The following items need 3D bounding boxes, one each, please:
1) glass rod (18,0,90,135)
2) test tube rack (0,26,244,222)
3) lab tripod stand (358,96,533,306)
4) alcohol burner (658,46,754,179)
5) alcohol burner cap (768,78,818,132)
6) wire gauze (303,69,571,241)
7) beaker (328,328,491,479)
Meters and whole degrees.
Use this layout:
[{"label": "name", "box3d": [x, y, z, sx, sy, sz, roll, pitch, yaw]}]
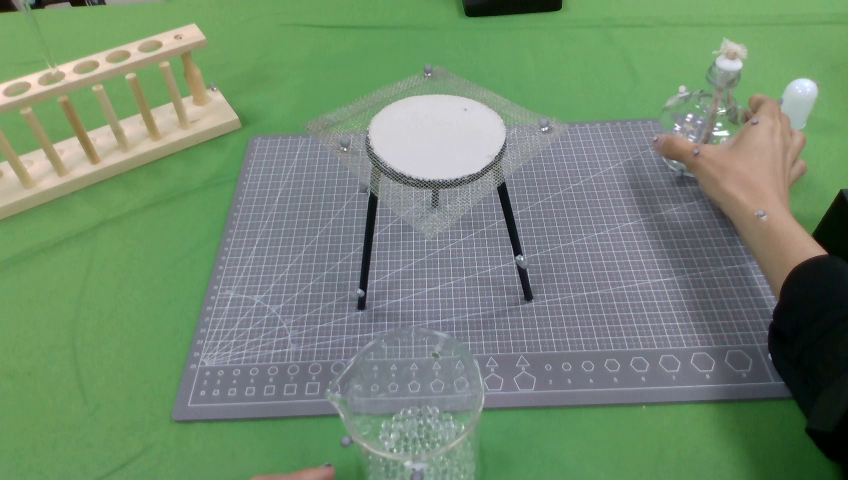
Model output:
[{"label": "glass rod", "box3d": [-0.316, -0.153, 0.510, 0.008, 0.201, 0.008, 2, 48, -2]}, {"label": "test tube rack", "box3d": [-0.303, -0.109, 0.559, 0.242, 0.086, 0.066, -26, 52, -19]}, {"label": "lab tripod stand", "box3d": [0.014, -0.022, 0.429, 0.148, 0.133, 0.147, 0, 47, 1]}, {"label": "alcohol burner", "box3d": [0.241, -0.110, 0.509, 0.078, 0.120, 0.077, -1, 50, 1]}, {"label": "alcohol burner cap", "box3d": [0.352, -0.130, 0.573, 0.034, 0.048, 0.033, -1, 48, 2]}, {"label": "wire gauze", "box3d": [0.007, -0.065, 0.377, 0.121, 0.011, 0.124, -34, 55, -26]}, {"label": "beaker", "box3d": [-0.006, 0.108, 0.342, 0.084, 0.101, 0.073, 0, 48, 4]}]
